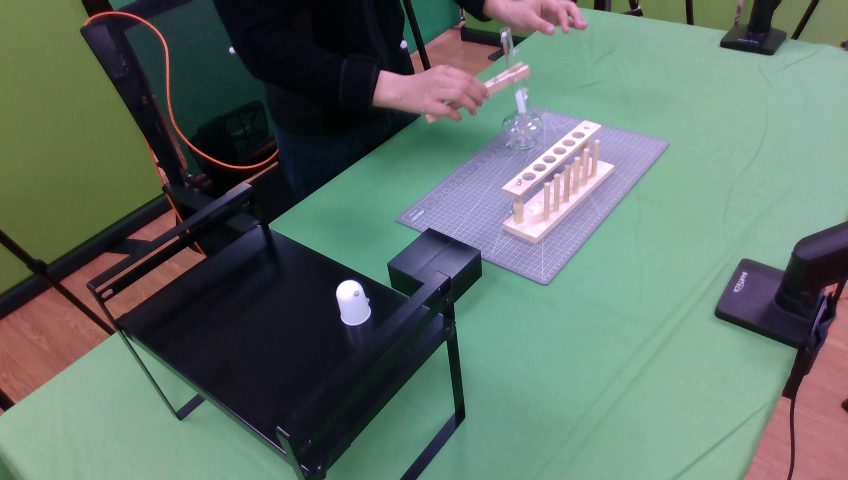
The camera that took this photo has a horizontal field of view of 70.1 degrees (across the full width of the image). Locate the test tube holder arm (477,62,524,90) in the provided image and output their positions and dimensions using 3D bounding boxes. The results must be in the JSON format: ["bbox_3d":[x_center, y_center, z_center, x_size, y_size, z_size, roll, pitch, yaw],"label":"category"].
[{"bbox_3d":[0.121,-0.253,0.949,0.088,0.015,0.010,-33,40,-13],"label":"test tube holder arm"}]

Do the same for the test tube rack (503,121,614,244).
[{"bbox_3d":[0.230,-0.101,1.006,0.066,0.085,0.243,26,50,34],"label":"test tube rack"}]

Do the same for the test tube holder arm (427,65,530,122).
[{"bbox_3d":[0.085,-0.228,0.937,0.179,0.015,0.013,-28,39,-8],"label":"test tube holder arm"}]

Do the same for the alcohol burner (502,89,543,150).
[{"bbox_3d":[0.186,-0.233,1.147,0.078,0.119,0.077,-4,42,4],"label":"alcohol burner"}]

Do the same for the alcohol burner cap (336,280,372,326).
[{"bbox_3d":[-0.073,0.061,0.619,0.034,0.048,0.033,-4,42,4],"label":"alcohol burner cap"}]

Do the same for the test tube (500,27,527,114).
[{"bbox_3d":[0.142,-0.262,0.949,0.017,0.151,0.017,-12,42,12],"label":"test tube"}]
